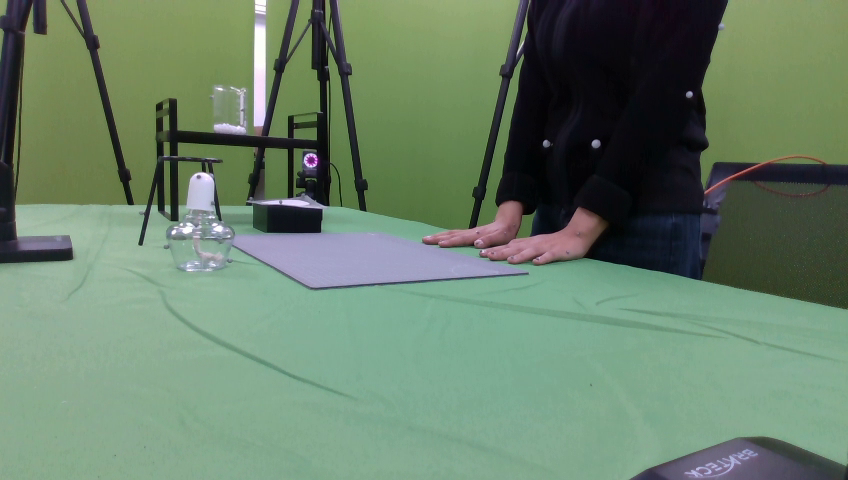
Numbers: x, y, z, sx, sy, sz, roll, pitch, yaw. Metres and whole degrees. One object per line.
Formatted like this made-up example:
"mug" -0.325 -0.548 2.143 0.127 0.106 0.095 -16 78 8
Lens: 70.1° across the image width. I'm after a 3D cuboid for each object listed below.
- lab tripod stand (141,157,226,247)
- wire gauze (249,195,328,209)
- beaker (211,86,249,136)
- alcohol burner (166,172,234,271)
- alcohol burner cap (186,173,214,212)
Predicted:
"lab tripod stand" -0.353 -0.060 0.920 0.148 0.131 0.148 1 6 0
"wire gauze" -0.260 -0.071 1.139 0.126 0.011 0.121 -3 12 -28
"beaker" -0.413 -0.274 1.297 0.074 0.100 0.083 -5 11 -44
"alcohol burner" -0.271 -0.023 0.735 0.078 0.119 0.078 2 5 0
"alcohol burner cap" -0.268 -0.057 0.730 0.034 0.048 0.034 5 1 0
